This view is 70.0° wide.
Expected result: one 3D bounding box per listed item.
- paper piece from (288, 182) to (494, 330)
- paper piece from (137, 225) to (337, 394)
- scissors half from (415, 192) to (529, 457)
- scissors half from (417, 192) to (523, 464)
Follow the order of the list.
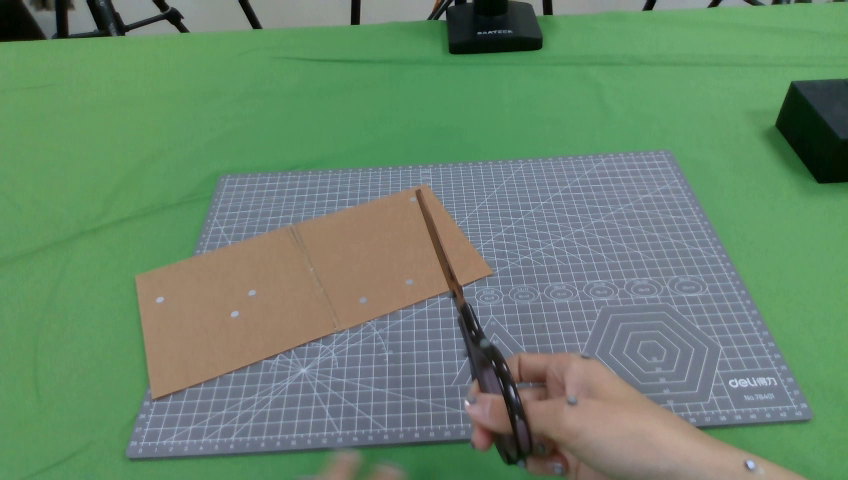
[{"bbox_3d":[-0.032,0.006,0.519,0.138,0.009,0.134,-18,50,-16],"label":"paper piece"},{"bbox_3d":[-0.154,0.047,0.482,0.136,0.004,0.134,-18,44,-16],"label":"paper piece"},{"bbox_3d":[0.022,0.038,0.348,0.013,0.040,0.173,-18,56,-6],"label":"scissors half"},{"bbox_3d":[0.022,0.047,0.366,0.013,0.040,0.174,-16,73,-11],"label":"scissors half"}]
